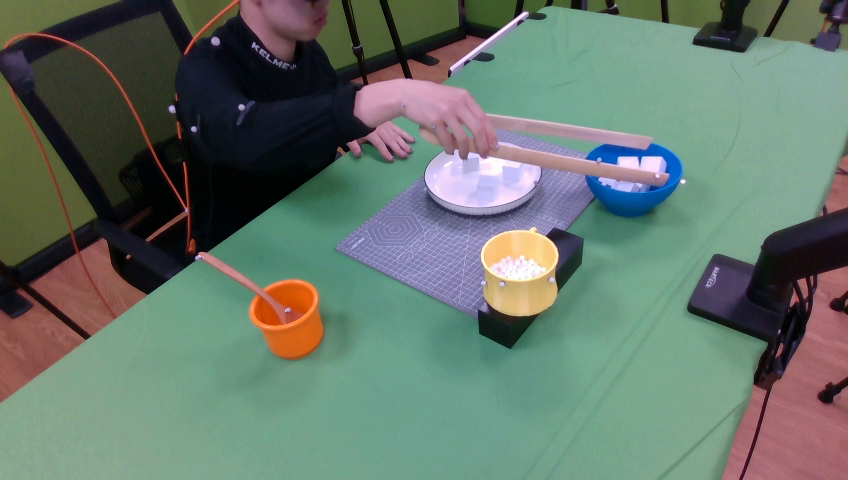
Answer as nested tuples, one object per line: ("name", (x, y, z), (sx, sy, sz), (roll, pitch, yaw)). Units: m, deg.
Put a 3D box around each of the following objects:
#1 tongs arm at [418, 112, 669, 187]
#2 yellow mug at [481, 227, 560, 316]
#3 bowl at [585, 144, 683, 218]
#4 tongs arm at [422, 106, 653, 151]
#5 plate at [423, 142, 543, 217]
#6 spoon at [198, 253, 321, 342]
("tongs arm", (0.182, -0.133, 0.906), (0.386, 0.026, 0.050), (8, 47, -10))
("yellow mug", (0.131, 0.032, 0.801), (0.099, 0.064, 0.131), (11, 43, 20))
("bowl", (0.334, -0.089, 0.982), (0.151, 0.077, 0.150), (-3, 40, 3))
("tongs arm", (0.181, -0.170, 0.941), (0.389, 0.028, 0.028), (5, 51, -13))
("plate", (0.103, -0.104, 1.059), (0.207, 0.039, 0.206), (-4, 40, 4))
("spoon", (-0.220, 0.075, 0.814), (0.021, 0.194, 0.041), (-37, 18, 39))
